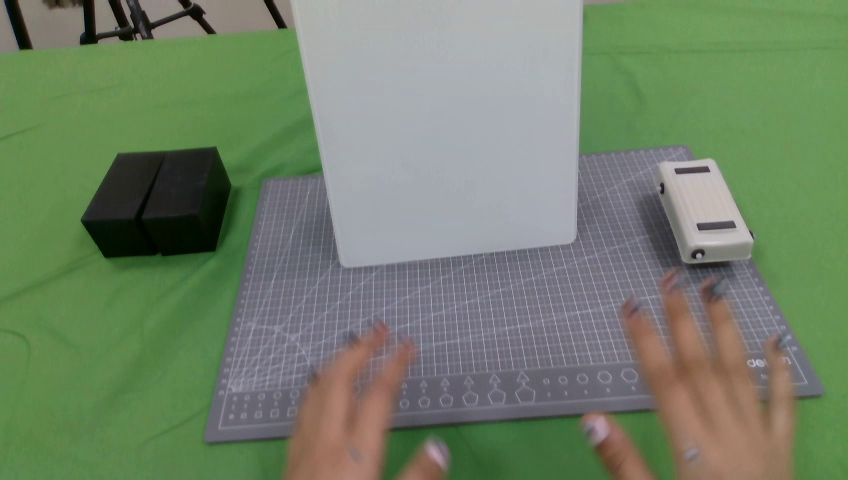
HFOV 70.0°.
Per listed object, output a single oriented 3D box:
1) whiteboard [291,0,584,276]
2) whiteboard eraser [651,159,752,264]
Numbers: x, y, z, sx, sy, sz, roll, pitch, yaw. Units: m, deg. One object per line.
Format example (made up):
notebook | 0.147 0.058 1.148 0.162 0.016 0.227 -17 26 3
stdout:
whiteboard | 0.015 -0.145 0.538 0.217 0.308 0.142 -6 26 0
whiteboard eraser | 0.244 -0.024 0.541 0.055 0.042 0.111 -2 45 3
